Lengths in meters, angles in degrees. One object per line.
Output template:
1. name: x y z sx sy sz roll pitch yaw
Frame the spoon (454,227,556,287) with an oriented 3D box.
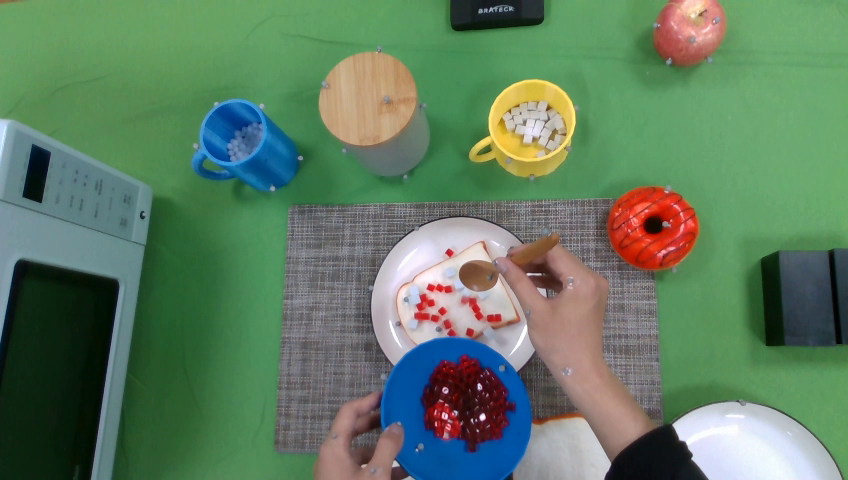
1. spoon: 0.075 0.019 0.579 0.042 0.193 0.021 40 70 -6

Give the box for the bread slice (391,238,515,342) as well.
1. bread slice: 0.028 0.070 0.713 0.131 0.019 0.104 -26 77 1

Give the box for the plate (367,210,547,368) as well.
1. plate: 0.039 0.069 0.711 0.207 0.039 0.207 -1 80 8

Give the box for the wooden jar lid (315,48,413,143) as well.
1. wooden jar lid: -0.064 -0.155 0.659 0.108 0.021 0.108 -2 78 8

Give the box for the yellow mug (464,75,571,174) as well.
1. yellow mug: 0.109 -0.130 0.725 0.131 0.064 0.099 -24 77 4

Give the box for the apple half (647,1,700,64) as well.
1. apple half: 0.285 -0.235 0.713 0.033 0.081 0.081 -33 77 -4

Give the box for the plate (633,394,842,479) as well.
1. plate: 0.325 0.268 0.639 0.209 0.038 0.208 -2 80 8

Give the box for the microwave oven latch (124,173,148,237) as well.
1. microwave oven latch: -0.375 -0.045 0.773 0.030 0.029 0.079 5 81 8

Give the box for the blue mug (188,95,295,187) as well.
1. blue mug: -0.231 -0.112 0.749 0.116 0.106 0.082 -26 77 3

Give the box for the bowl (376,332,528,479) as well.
1. bowl: 0.022 0.178 0.616 0.152 0.077 0.150 5 62 -9

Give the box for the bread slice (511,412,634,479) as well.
1. bread slice: 0.157 0.239 0.641 0.135 0.018 0.106 -5 75 -13

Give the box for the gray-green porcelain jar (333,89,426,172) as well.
1. gray-green porcelain jar: -0.055 -0.143 0.720 0.106 0.127 0.105 -1 79 8

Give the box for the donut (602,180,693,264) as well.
1. donut: 0.254 -0.020 0.692 0.099 0.048 0.098 -1 81 7

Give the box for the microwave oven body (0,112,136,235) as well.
1. microwave oven body: -0.548 0.105 0.672 0.325 0.261 0.440 3 81 8

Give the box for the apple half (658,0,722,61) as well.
1. apple half: 0.317 -0.256 0.714 0.053 0.075 0.080 -32 73 -4

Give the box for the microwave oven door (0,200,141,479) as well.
1. microwave oven door: -0.408 0.152 0.639 0.039 0.245 0.354 2 80 9
